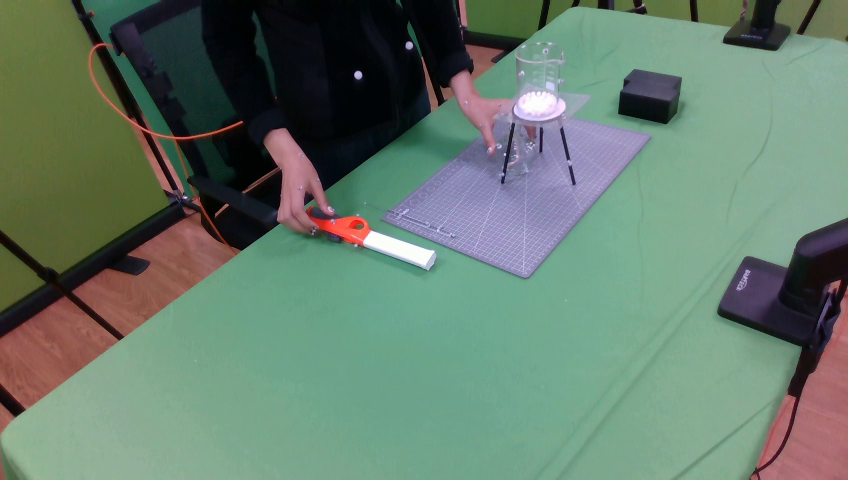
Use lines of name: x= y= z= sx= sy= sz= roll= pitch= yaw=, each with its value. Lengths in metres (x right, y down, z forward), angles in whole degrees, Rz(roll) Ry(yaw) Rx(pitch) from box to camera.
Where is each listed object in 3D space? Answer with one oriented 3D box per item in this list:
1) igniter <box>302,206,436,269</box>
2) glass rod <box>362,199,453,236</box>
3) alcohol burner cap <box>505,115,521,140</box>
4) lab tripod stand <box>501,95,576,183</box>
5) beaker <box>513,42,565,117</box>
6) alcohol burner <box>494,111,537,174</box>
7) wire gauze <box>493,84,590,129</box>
igniter: x=-0.101 y=-0.007 z=1.004 sx=0.274 sy=0.025 sz=0.057 roll=19 pitch=61 yaw=29
glass rod: x=-0.031 y=-0.041 z=1.041 sx=0.198 sy=0.008 sz=0.008 roll=22 pitch=50 yaw=31
alcohol burner cap: x=0.175 y=-0.224 z=1.193 sx=0.034 sy=0.048 sz=0.033 roll=-5 pitch=40 yaw=5
lab tripod stand: x=0.204 y=-0.174 z=1.057 sx=0.148 sy=0.132 sz=0.147 roll=-4 pitch=40 yaw=4
beaker: x=0.187 y=-0.257 z=0.981 sx=0.083 sy=0.101 sz=0.074 roll=21 pitch=49 yaw=29
alcohol burner: x=0.165 y=-0.179 z=1.086 sx=0.078 sy=0.119 sz=0.077 roll=-4 pitch=40 yaw=4
wire gauze: x=0.197 y=-0.223 z=1.013 sx=0.120 sy=0.011 sz=0.125 roll=21 pitch=47 yaw=28
